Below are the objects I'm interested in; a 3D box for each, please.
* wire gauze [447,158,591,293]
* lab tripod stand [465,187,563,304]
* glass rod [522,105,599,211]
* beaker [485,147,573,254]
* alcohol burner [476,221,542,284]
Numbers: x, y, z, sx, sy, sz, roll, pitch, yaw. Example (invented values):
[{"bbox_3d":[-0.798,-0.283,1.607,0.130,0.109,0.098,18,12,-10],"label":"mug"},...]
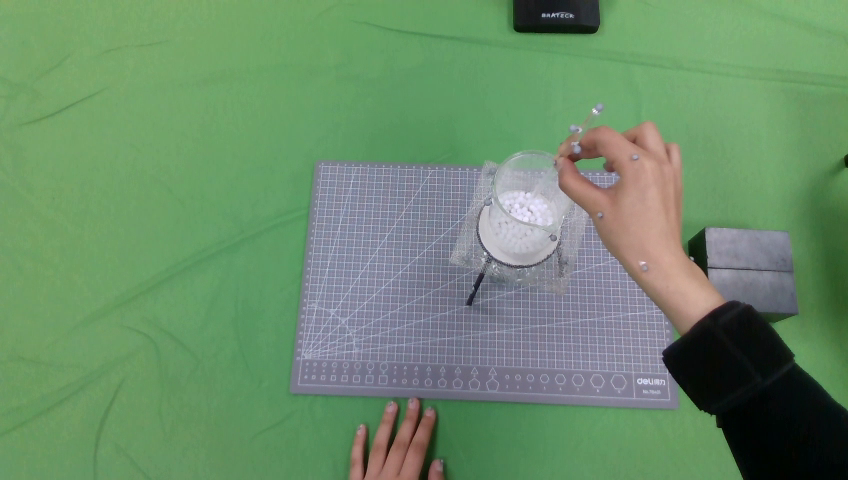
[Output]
[{"bbox_3d":[0.101,-0.016,0.627,0.121,0.011,0.124,19,71,5],"label":"wire gauze"},{"bbox_3d":[0.096,0.002,0.690,0.148,0.132,0.147,-1,72,2],"label":"lab tripod stand"},{"bbox_3d":[0.113,-0.064,0.529,0.008,0.200,0.008,2,71,-6],"label":"glass rod"},{"bbox_3d":[0.097,-0.030,0.581,0.074,0.101,0.083,-25,73,-7],"label":"beaker"},{"bbox_3d":[0.099,0.010,0.698,0.078,0.120,0.077,0,73,2],"label":"alcohol burner"}]
